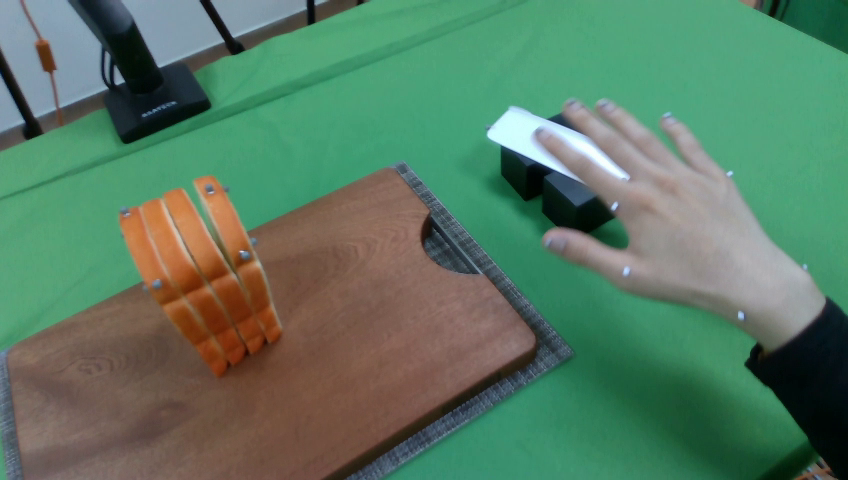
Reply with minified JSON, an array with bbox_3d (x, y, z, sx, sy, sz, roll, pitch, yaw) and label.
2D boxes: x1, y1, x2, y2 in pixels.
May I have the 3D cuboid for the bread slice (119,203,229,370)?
[{"bbox_3d":[-0.202,0.031,0.490,0.018,0.135,0.106,-30,50,-15],"label":"bread slice"}]

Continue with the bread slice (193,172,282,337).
[{"bbox_3d":[-0.155,0.008,0.504,0.019,0.133,0.104,-26,53,-20],"label":"bread slice"}]

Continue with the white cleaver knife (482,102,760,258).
[{"bbox_3d":[0.177,-0.070,0.573,0.284,0.022,0.066,34,63,28],"label":"white cleaver knife"}]
